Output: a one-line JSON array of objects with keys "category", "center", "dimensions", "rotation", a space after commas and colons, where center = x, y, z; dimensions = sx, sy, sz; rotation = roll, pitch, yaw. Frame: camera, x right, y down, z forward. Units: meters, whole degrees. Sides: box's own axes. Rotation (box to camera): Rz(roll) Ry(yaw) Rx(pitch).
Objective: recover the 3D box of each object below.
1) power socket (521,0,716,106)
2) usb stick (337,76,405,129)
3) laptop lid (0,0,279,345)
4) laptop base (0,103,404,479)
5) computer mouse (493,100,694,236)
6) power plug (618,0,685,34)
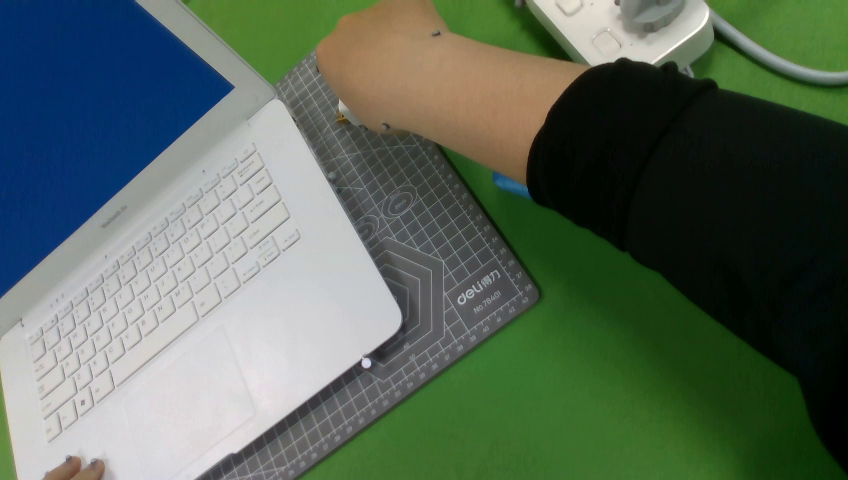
[{"category": "power socket", "center": [0.101, -0.178, 0.404], "dimensions": [0.072, 0.033, 0.224], "rotation": [-36, 59, 12]}, {"category": "usb stick", "center": [-0.045, -0.100, 0.452], "dimensions": [0.059, 0.027, 0.021], "rotation": [-11, 62, 32]}, {"category": "laptop lid", "center": [-0.313, -0.063, 0.448], "dimensions": [0.357, 0.244, 0.013], "rotation": [-39, 46, 11]}, {"category": "laptop base", "center": [-0.196, 0.078, 0.474], "dimensions": [0.354, 0.023, 0.233], "rotation": [-38, 62, 10]}, {"category": "computer mouse", "center": [0.094, -0.048, 0.358], "dimensions": [0.116, 0.041, 0.063], "rotation": [24, 86, 38]}, {"category": "power plug", "center": [0.146, -0.146, 0.345], "dimensions": [0.072, 0.053, 0.035], "rotation": [-28, 64, 16]}]
